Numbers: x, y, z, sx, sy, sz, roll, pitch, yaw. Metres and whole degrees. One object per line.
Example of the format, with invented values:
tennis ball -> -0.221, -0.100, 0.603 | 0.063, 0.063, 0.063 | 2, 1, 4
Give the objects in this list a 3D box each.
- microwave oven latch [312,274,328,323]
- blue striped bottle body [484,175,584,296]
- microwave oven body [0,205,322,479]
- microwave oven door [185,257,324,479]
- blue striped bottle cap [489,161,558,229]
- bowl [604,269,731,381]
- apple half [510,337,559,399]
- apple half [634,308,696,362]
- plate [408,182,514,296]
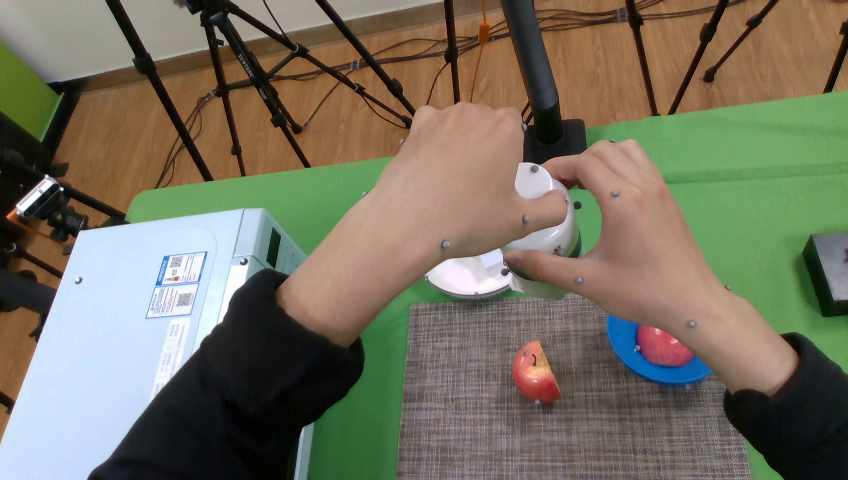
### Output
microwave oven latch -> -0.174, 0.095, 0.979 | 0.030, 0.030, 0.078 | -7, 59, 13
blue striped bottle body -> 0.084, -0.007, 0.456 | 0.063, 0.122, 0.062 | -9, 62, 17
microwave oven body -> -0.348, 0.214, 0.844 | 0.325, 0.263, 0.437 | -6, 59, 13
microwave oven door -> -0.210, 0.231, 0.784 | 0.039, 0.246, 0.352 | -7, 58, 14
blue striped bottle cap -> 0.067, -0.031, 0.410 | 0.044, 0.021, 0.044 | -10, 60, 18
bowl -> 0.315, 0.122, 0.798 | 0.151, 0.077, 0.150 | -8, 58, 14
apple half -> 0.145, 0.180, 0.821 | 0.053, 0.075, 0.080 | -24, 59, 7
apple half -> 0.316, 0.120, 0.793 | 0.081, 0.033, 0.080 | -8, 56, 13
plate -> 0.079, 0.001, 0.977 | 0.207, 0.039, 0.205 | -8, 58, 13
